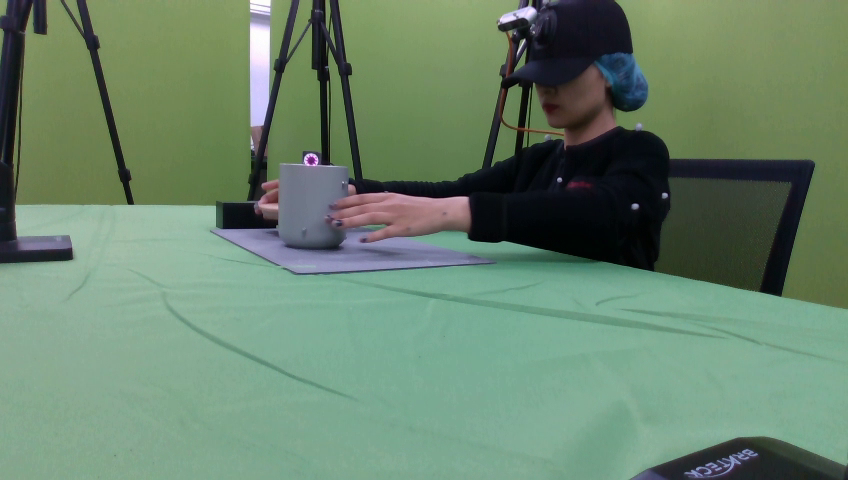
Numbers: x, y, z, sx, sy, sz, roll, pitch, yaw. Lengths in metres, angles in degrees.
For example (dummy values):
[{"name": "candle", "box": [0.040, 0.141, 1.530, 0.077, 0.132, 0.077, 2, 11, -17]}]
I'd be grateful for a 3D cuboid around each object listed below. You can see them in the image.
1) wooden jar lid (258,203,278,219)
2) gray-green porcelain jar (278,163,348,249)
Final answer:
[{"name": "wooden jar lid", "box": [-0.234, -0.051, 1.062, 0.108, 0.020, 0.108, 2, 10, 0]}, {"name": "gray-green porcelain jar", "box": [-0.171, -0.053, 0.934, 0.106, 0.126, 0.106, 2, 7, 0]}]
